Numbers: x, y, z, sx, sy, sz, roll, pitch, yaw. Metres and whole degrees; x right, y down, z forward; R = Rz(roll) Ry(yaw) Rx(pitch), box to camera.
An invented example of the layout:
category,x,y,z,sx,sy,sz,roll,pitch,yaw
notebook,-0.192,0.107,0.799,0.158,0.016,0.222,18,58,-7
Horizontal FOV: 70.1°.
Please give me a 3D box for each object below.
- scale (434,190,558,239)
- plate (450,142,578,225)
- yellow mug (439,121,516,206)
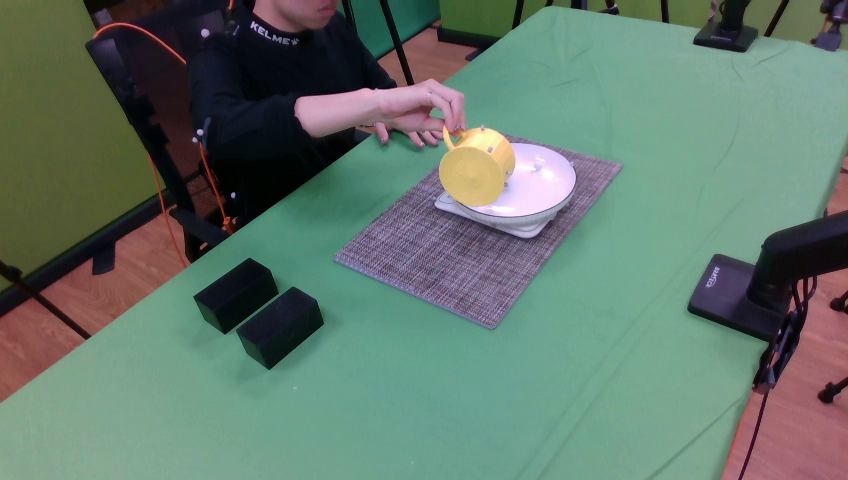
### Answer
category,x,y,z,sx,sy,sz,roll,pitch,yaw
scale,0.132,-0.075,1.025,0.199,0.032,0.149,22,48,30
plate,0.145,-0.089,0.989,0.209,0.038,0.208,-4,41,4
yellow mug,0.071,-0.121,0.890,0.099,0.131,0.064,-27,20,37
